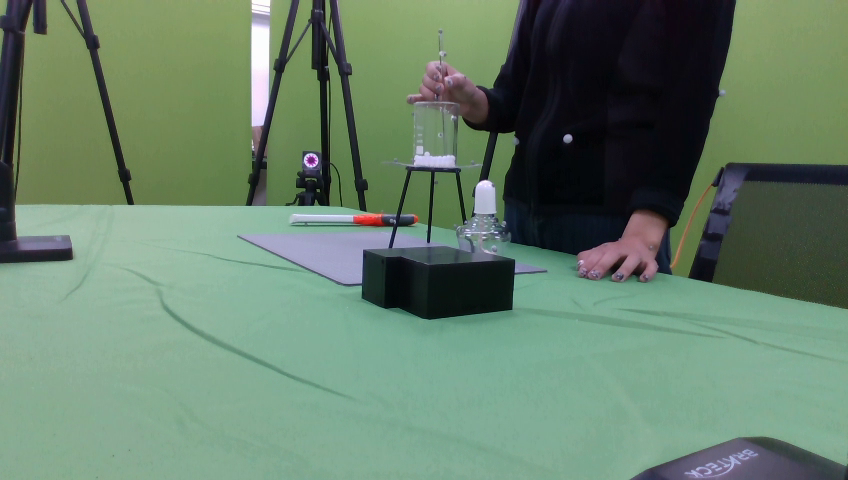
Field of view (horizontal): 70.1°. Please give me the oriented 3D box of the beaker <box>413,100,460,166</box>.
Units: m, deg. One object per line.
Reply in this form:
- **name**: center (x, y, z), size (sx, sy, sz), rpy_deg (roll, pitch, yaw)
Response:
- **beaker**: center (0.020, -0.167, 0.953), size (0.073, 0.100, 0.084), rpy_deg (5, 9, 26)

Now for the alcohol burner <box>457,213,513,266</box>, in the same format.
- **alcohol burner**: center (0.084, -0.025, 0.837), size (0.078, 0.119, 0.078), rpy_deg (0, 8, 0)

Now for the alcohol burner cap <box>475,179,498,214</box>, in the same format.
- **alcohol burner cap**: center (0.086, -0.061, 0.833), size (0.034, 0.048, 0.034), rpy_deg (-1, 11, 0)

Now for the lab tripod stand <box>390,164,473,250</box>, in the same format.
- **lab tripod stand**: center (0.011, -0.054, 0.960), size (0.148, 0.131, 0.148), rpy_deg (2, 9, 0)

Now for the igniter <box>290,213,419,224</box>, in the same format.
- **igniter**: center (-0.143, -0.046, 1.288), size (0.278, 0.025, 0.057), rpy_deg (-1, -3, -24)

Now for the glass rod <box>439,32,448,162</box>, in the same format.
- **glass rod**: center (0.031, -0.223, 0.952), size (0.008, 0.199, 0.008), rpy_deg (-3, 11, 1)

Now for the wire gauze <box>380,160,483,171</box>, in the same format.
- **wire gauze**: center (0.011, -0.119, 0.951), size (0.122, 0.011, 0.124), rpy_deg (-5, 12, -32)
